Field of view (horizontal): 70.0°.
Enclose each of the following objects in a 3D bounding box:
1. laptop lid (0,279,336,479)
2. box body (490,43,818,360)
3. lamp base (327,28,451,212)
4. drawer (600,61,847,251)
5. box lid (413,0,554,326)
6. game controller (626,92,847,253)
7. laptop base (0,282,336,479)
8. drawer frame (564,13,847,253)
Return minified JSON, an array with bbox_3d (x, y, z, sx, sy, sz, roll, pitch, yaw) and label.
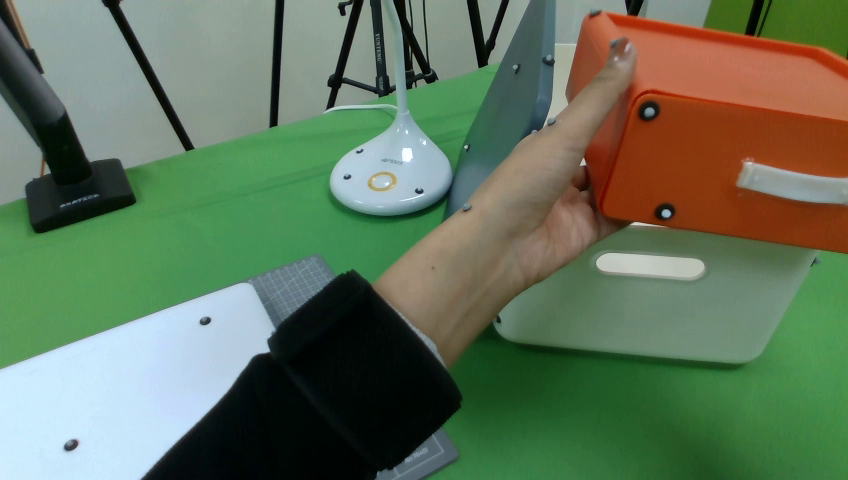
[{"bbox_3d":[-0.273,0.160,0.475,0.357,0.013,0.239,-20,44,-21],"label":"laptop lid"},{"bbox_3d":[0.204,-0.060,0.632,0.254,0.162,0.361,4,39,8],"label":"box body"},{"bbox_3d":[-0.047,-0.154,0.745,0.160,0.182,0.178,4,37,8],"label":"lamp base"},{"bbox_3d":[0.207,-0.078,0.403,0.194,0.074,0.210,8,30,2],"label":"drawer"},{"bbox_3d":[0.067,-0.107,0.630,0.015,0.264,0.368,22,40,-5],"label":"box lid"},{"bbox_3d":[0.204,-0.046,0.374,0.155,0.052,0.096,5,59,-1],"label":"game controller"},{"bbox_3d":[-0.274,0.167,0.484,0.355,0.023,0.233,-21,46,-22],"label":"laptop base"},{"bbox_3d":[0.207,-0.082,0.406,0.202,0.083,0.212,8,30,0],"label":"drawer frame"}]
